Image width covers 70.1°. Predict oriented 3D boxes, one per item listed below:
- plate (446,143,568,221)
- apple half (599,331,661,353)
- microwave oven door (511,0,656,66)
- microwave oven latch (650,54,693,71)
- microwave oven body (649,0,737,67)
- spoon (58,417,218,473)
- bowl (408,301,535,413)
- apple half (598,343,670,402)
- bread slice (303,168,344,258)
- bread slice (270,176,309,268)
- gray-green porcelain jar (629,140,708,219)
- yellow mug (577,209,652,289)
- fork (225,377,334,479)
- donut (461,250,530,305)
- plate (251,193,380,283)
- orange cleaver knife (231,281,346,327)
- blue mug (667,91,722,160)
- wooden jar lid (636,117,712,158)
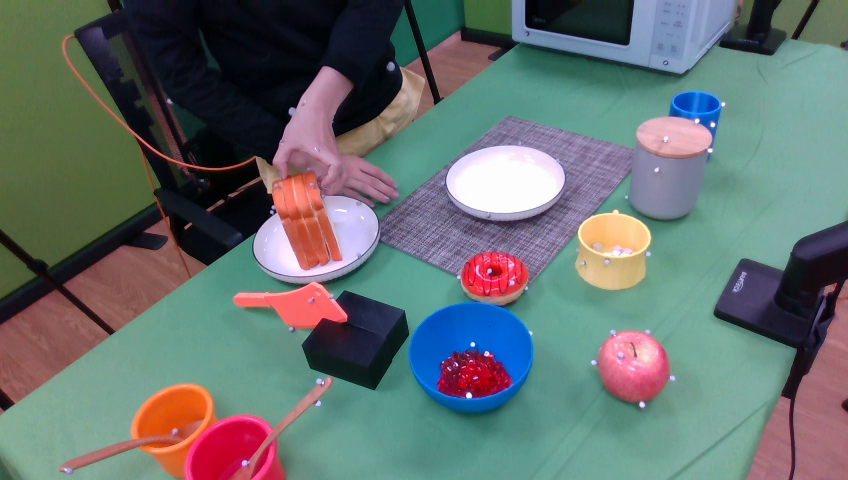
[{"bbox_3d":[0.142,-0.097,1.045,0.207,0.039,0.206,-4,40,4],"label":"plate"},{"bbox_3d":[0.249,0.134,0.738,0.081,0.081,0.032,-2,46,7],"label":"apple half"},{"bbox_3d":[0.351,-0.539,1.348,0.353,0.245,0.039,24,50,31],"label":"microwave oven door"},{"bbox_3d":[0.531,-0.386,1.301,0.078,0.029,0.030,26,51,33],"label":"microwave oven latch"},{"bbox_3d":[0.475,-0.602,1.411,0.438,0.261,0.327,23,50,32],"label":"microwave oven body"},{"bbox_3d":[-0.304,0.221,0.661,0.041,0.195,0.021,19,92,27],"label":"spoon"},{"bbox_3d":[0.060,0.156,0.739,0.151,0.077,0.150,-4,40,4],"label":"bowl"},{"bbox_3d":[0.247,0.161,0.710,0.081,0.075,0.053,2,47,5],"label":"apple half"},{"bbox_3d":[-0.160,-0.046,0.953,0.018,0.135,0.106,-19,45,-5],"label":"bread slice"},{"bbox_3d":[-0.210,-0.034,0.946,0.019,0.132,0.104,-18,39,-4],"label":"bread slice"},{"bbox_3d":[0.383,-0.105,0.958,0.106,0.127,0.105,-4,41,4],"label":"gray-green porcelain jar"},{"bbox_3d":[0.279,0.004,0.893,0.099,0.064,0.130,5,41,15],"label":"yellow mug"},{"bbox_3d":[-0.163,0.216,0.646,0.207,0.019,0.028,-49,42,16],"label":"fork"},{"bbox_3d":[0.103,0.053,0.872,0.099,0.048,0.098,-5,40,4],"label":"donut"},{"bbox_3d":[-0.173,-0.001,0.984,0.209,0.038,0.208,-4,41,4],"label":"plate"},{"bbox_3d":[-0.192,0.093,0.844,0.210,0.077,0.012,-7,31,38],"label":"orange cleaver knife"},{"bbox_3d":[0.474,-0.207,1.079,0.082,0.106,0.116,4,42,13],"label":"blue mug"},{"bbox_3d":[0.377,-0.151,0.917,0.108,0.021,0.108,-2,41,3],"label":"wooden jar lid"}]
